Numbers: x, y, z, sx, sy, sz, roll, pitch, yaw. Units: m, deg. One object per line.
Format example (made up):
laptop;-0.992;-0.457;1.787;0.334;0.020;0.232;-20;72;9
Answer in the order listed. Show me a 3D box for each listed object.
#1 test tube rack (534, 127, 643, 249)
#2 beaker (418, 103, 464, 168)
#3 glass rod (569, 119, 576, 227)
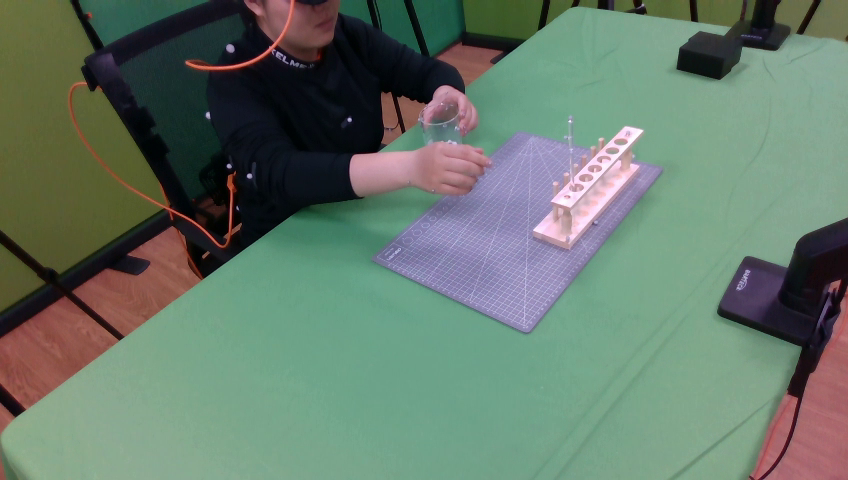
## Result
test tube rack;0.271;-0.094;0.990;0.066;0.085;0.243;23;50;33
beaker;0.035;-0.192;1.115;0.073;0.101;0.084;8;45;21
glass rod;0.219;-0.093;0.894;0.008;0.201;0.008;-8;43;8
